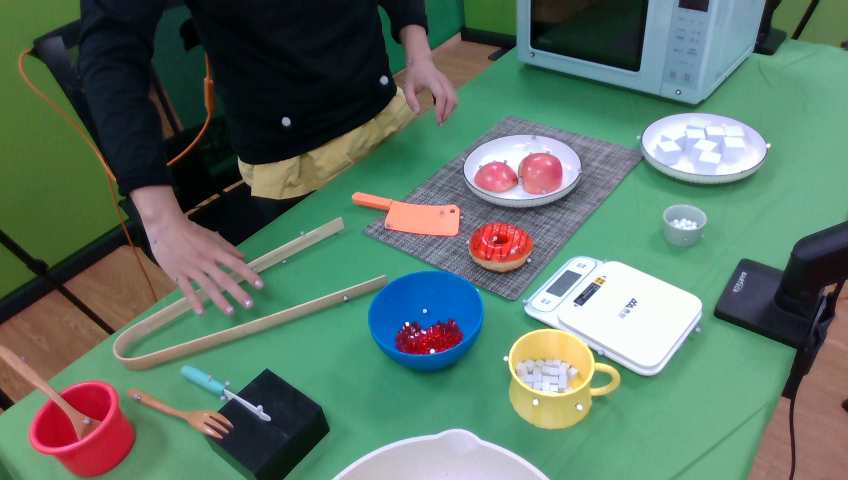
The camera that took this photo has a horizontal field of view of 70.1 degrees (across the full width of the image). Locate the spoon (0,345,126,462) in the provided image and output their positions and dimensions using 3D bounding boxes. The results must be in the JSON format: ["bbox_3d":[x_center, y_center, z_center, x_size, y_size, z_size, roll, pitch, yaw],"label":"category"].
[{"bbox_3d":[-0.434,0.192,0.720,0.194,0.021,0.042,47,53,-7],"label":"spoon"}]

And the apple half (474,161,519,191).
[{"bbox_3d":[0.130,-0.119,1.067,0.081,0.033,0.081,-4,36,3],"label":"apple half"}]

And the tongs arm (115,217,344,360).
[{"bbox_3d":[-0.279,0.068,0.927,0.386,0.026,0.050,-29,49,-23],"label":"tongs arm"}]

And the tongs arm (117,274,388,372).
[{"bbox_3d":[-0.235,0.116,0.869,0.389,0.028,0.028,-18,49,-12],"label":"tongs arm"}]

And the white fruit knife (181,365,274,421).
[{"bbox_3d":[-0.245,0.187,0.747,0.205,0.027,0.016,9,41,40],"label":"white fruit knife"}]

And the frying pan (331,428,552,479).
[{"bbox_3d":[-0.089,0.306,0.564,0.487,0.103,0.306,10,41,7],"label":"frying pan"}]

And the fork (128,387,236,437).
[{"bbox_3d":[-0.305,0.207,0.744,0.206,0.019,0.028,3,41,36],"label":"fork"}]

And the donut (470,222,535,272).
[{"bbox_3d":[0.119,0.009,0.923,0.099,0.048,0.098,-4,38,3],"label":"donut"}]

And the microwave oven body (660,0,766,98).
[{"bbox_3d":[0.472,-0.513,1.317,0.438,0.261,0.327,26,51,34],"label":"microwave oven body"}]

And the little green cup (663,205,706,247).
[{"bbox_3d":[0.396,-0.020,0.926,0.061,0.039,0.061,-4,40,4],"label":"little green cup"}]

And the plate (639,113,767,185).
[{"bbox_3d":[0.489,-0.157,1.074,0.207,0.039,0.206,-4,40,4],"label":"plate"}]

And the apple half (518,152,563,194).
[{"bbox_3d":[0.203,-0.123,1.047,0.075,0.053,0.080,-2,41,1],"label":"apple half"}]

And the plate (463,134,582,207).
[{"bbox_3d":[0.173,-0.119,1.070,0.209,0.038,0.208,-4,40,4],"label":"plate"}]

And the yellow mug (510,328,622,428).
[{"bbox_3d":[0.169,0.164,0.722,0.130,0.064,0.099,0,40,8],"label":"yellow mug"}]

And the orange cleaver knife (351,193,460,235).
[{"bbox_3d":[-0.036,-0.044,1.029,0.210,0.012,0.077,10,49,18],"label":"orange cleaver knife"}]

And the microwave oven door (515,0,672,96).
[{"bbox_3d":[0.343,-0.454,1.259,0.353,0.245,0.039,26,51,33],"label":"microwave oven door"}]

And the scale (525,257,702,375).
[{"bbox_3d":[0.254,0.091,0.821,0.199,0.032,0.149,28,51,35],"label":"scale"}]

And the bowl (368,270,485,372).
[{"bbox_3d":[0.007,0.118,0.791,0.151,0.077,0.150,-5,40,4],"label":"bowl"}]

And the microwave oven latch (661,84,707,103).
[{"bbox_3d":[0.517,-0.296,1.204,0.078,0.029,0.030,27,52,35],"label":"microwave oven latch"}]
